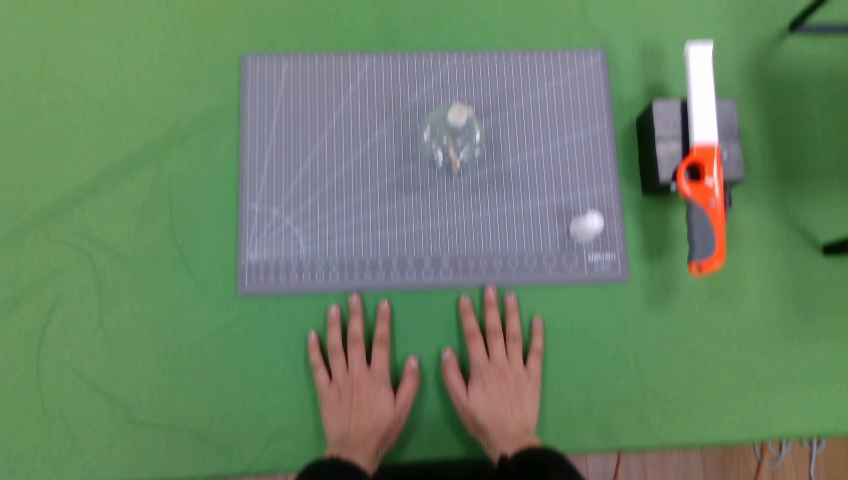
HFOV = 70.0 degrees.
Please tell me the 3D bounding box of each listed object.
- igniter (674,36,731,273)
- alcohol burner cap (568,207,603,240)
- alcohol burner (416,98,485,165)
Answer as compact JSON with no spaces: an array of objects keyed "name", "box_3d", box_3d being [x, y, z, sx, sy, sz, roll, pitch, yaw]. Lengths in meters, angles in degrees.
[{"name":"igniter","box_3d":[0.310,-0.099,0.679,0.057,0.025,0.275,1,79,9]},{"name":"alcohol burner cap","box_3d":[0.187,-0.020,0.695,0.034,0.048,0.033,1,79,-2]},{"name":"alcohol burner","box_3d":[0.031,-0.126,0.670,0.078,0.119,0.077,1,79,-4]}]
